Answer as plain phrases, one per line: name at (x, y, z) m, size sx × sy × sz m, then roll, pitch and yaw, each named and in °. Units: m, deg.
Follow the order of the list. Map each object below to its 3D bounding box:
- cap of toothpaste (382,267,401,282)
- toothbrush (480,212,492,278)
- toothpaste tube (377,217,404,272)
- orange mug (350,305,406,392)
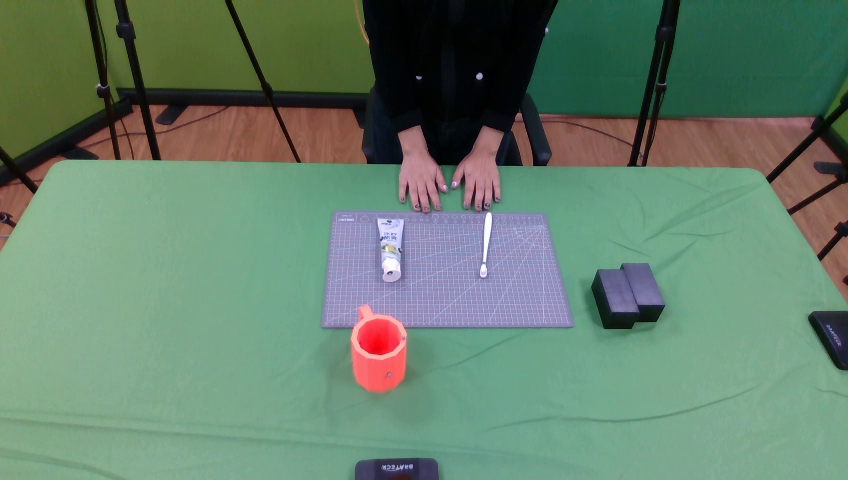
cap of toothpaste at (-0.060, 0.063, 1.119) m, size 0.037 × 0.037 × 0.011 m, roll -9°, pitch 50°, yaw -12°
toothbrush at (0.124, 0.004, 1.203) m, size 0.014 × 0.017 × 0.181 m, roll -3°, pitch 43°, yaw 14°
toothpaste tube at (-0.063, 0.008, 1.179) m, size 0.055 × 0.034 × 0.164 m, roll 5°, pitch 42°, yaw -9°
orange mug at (-0.080, 0.168, 0.978) m, size 0.083 × 0.101 × 0.125 m, roll -16°, pitch 54°, yaw -18°
